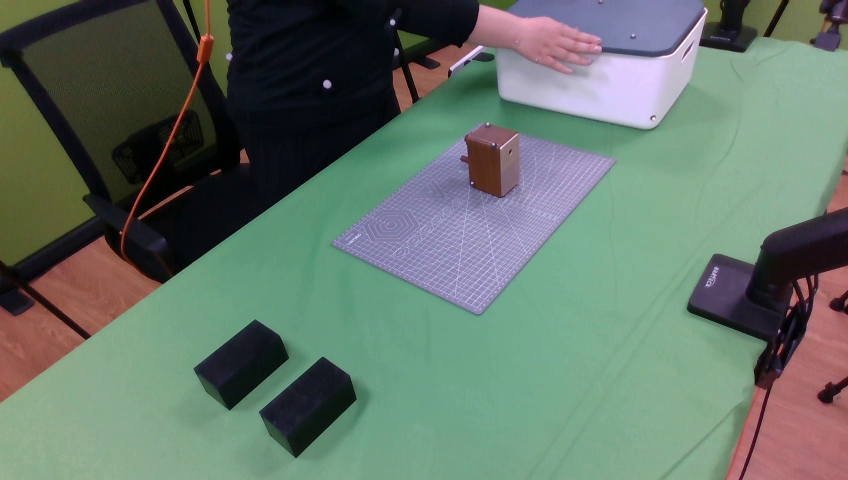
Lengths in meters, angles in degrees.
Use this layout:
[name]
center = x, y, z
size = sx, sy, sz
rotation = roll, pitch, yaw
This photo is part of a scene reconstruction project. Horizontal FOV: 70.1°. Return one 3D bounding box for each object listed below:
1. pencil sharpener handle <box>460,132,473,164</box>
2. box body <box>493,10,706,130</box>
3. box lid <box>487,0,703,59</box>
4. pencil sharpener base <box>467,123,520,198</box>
[pencil sharpener handle]
center = 0.077, -0.163, 1.062
size = 0.030, 0.068, 0.036
rotation = 23, 43, 32
[box body]
center = 0.354, -0.377, 1.254
size = 0.361, 0.161, 0.254
rotation = 20, 47, 28
[box lid]
center = 0.339, -0.436, 1.205
size = 0.369, 0.015, 0.264
rotation = 18, 47, 29
[pencil sharpener base]
center = 0.119, -0.138, 1.044
size = 0.076, 0.107, 0.061
rotation = 23, 49, 32
